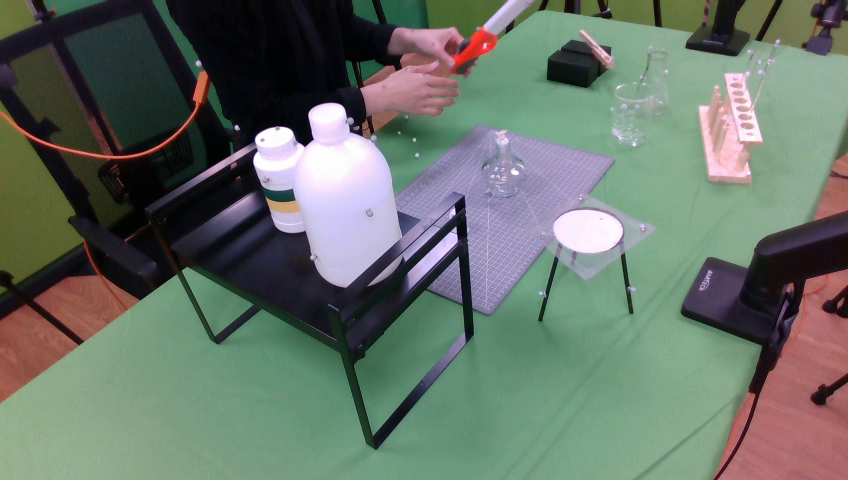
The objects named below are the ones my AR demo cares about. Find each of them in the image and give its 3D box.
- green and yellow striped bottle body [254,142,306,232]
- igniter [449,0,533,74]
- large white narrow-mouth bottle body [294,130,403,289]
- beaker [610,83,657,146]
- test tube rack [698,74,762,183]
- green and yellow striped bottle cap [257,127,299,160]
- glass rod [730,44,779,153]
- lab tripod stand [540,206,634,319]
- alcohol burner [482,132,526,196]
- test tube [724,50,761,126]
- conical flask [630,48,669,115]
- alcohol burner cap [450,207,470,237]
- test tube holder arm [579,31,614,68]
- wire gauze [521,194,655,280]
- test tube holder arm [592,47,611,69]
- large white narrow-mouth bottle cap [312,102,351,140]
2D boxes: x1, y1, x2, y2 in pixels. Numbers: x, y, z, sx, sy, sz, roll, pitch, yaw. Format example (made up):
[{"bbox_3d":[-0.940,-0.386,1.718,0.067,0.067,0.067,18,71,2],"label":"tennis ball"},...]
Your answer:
[{"bbox_3d":[-0.165,-0.073,0.732,0.063,0.120,0.063,-4,41,4],"label":"green and yellow striped bottle body"},{"bbox_3d":[0.117,-0.377,1.107,0.057,0.275,0.025,11,71,-24],"label":"igniter"},{"bbox_3d":[-0.082,-0.047,0.634,0.102,0.195,0.101,-4,40,4],"label":"large white narrow-mouth bottle body"},{"bbox_3d":[0.388,-0.235,1.138,0.074,0.101,0.083,-31,45,-25],"label":"beaker"},{"bbox_3d":[0.547,-0.208,1.095,0.066,0.085,0.242,5,42,15],"label":"test tube rack"},{"bbox_3d":[-0.169,-0.112,0.699,0.045,0.020,0.045,-5,41,5],"label":"green and yellow striped bottle cap"},{"bbox_3d":[0.555,-0.234,1.020,0.008,0.200,0.008,2,40,-1],"label":"glass rod"},{"bbox_3d":[0.218,0.034,0.821,0.148,0.132,0.147,-4,42,4],"label":"lab tripod stand"},{"bbox_3d":[0.137,-0.136,1.042,0.078,0.119,0.077,-4,43,4],"label":"alcohol burner"},{"bbox_3d":[0.570,-0.269,1.086,0.017,0.151,0.017,-1,46,1],"label":"test tube"},{"bbox_3d":[0.457,-0.317,1.205,0.075,0.122,0.075,-4,41,4],"label":"conical flask"},{"bbox_3d":[0.057,-0.032,0.987,0.034,0.048,0.033,-5,41,4],"label":"alcohol burner cap"},{"bbox_3d":[0.384,-0.428,1.351,0.013,0.015,0.177,-10,41,-4],"label":"test tube holder arm"},{"bbox_3d":[0.207,-0.012,0.772,0.122,0.011,0.124,-28,44,-20],"label":"wire gauze"},{"bbox_3d":[0.386,-0.398,1.317,0.010,0.015,0.087,-10,41,-3],"label":"test tube holder arm"},{"bbox_3d":[-0.089,-0.114,0.579,0.038,0.024,0.037,-3,39,3],"label":"large white narrow-mouth bottle cap"}]
